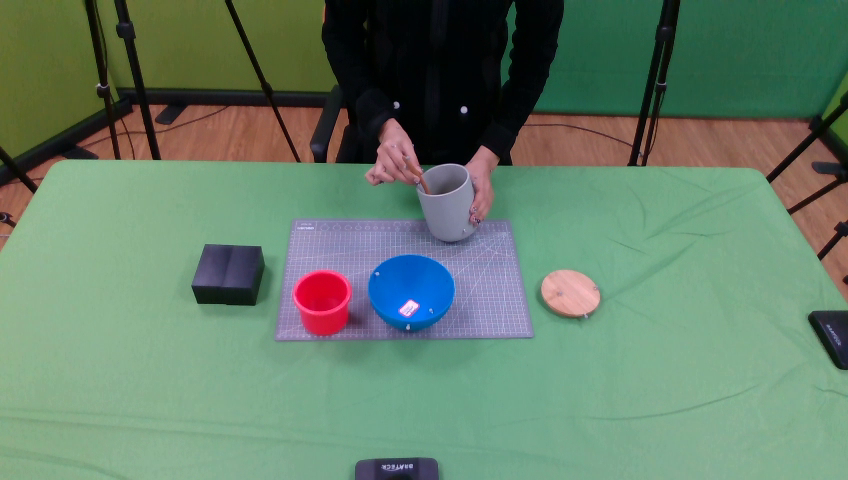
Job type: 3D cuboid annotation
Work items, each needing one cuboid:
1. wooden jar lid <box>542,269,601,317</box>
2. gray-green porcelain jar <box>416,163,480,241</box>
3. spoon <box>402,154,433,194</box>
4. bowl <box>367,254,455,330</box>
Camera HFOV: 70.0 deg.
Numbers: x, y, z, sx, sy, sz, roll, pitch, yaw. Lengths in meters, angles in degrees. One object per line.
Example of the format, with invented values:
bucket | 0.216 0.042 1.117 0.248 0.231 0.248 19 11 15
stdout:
wooden jar lid | 0.272 0.100 1.121 0.108 0.021 0.107 3 46 -3
gray-green porcelain jar | 0.051 -0.070 1.180 0.106 0.127 0.105 -11 40 9
spoon | 0.001 -0.102 1.148 0.041 0.195 0.021 25 69 38
bowl | -0.023 0.104 1.053 0.151 0.077 0.150 2 46 -2
